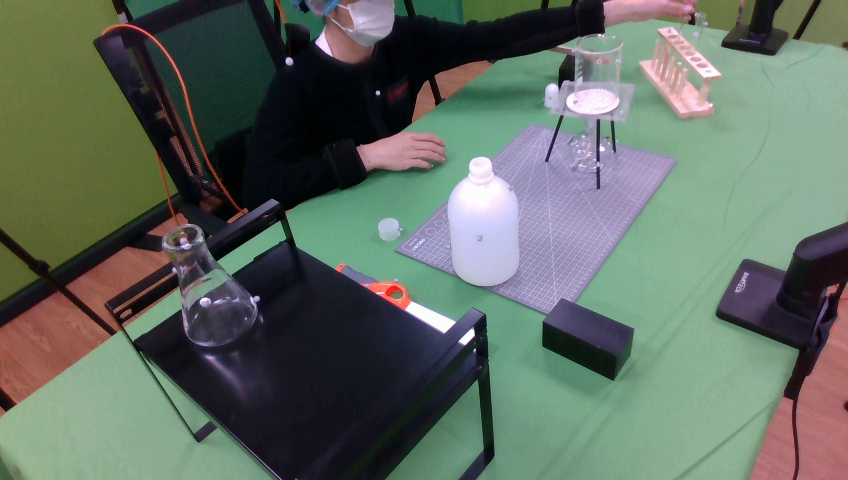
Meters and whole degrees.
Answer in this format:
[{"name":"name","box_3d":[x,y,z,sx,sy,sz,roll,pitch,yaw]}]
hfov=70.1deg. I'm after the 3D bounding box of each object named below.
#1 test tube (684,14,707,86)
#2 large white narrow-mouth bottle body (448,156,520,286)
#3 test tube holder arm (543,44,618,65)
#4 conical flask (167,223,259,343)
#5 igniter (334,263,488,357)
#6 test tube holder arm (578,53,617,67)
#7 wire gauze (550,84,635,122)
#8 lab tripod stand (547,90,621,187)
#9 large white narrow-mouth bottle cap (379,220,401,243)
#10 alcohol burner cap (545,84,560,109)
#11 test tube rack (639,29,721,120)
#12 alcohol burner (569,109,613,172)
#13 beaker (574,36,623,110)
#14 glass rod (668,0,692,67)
[{"name":"test tube","box_3d":[0.541,-0.379,1.216,0.017,0.151,0.017,-2,44,2]},{"name":"large white narrow-mouth bottle body","box_3d":[0.086,-0.032,0.869,0.102,0.195,0.101,-4,40,4]},{"name":"test tube holder arm","box_3d":[0.344,-0.412,1.340,0.177,0.015,0.013,24,49,31]},{"name":"conical flask","box_3d":[-0.220,0.041,0.613,0.075,0.122,0.075,-5,40,4]},{"name":"igniter","box_3d":[-0.030,0.095,0.872,0.274,0.025,0.057,23,60,31]},{"name":"test tube holder arm","box_3d":[0.376,-0.393,1.314,0.087,0.015,0.010,25,49,32]},{"name":"wire gauze","box_3d":[0.285,-0.234,1.021,0.124,0.011,0.121,8,41,24]},{"name":"lab tripod stand","box_3d":[0.289,-0.184,1.062,0.148,0.132,0.147,-6,41,6]},{"name":"large white narrow-mouth bottle cap","box_3d":[-0.057,-0.015,1.011,0.038,0.024,0.037,-4,40,4]},{"name":"alcohol burner cap","box_3d":[0.274,-0.307,1.286,0.034,0.048,0.033,-5,42,5]},{"name":"test tube rack","box_3d":[0.527,-0.351,1.262,0.067,0.085,0.241,-8,40,1]},{"name":"alcohol burner","box_3d":[0.297,-0.181,1.073,0.078,0.119,0.077,-5,43,5]},{"name":"beaker","box_3d":[0.285,-0.273,0.990,0.073,0.101,0.084,15,46,27]},{"name":"glass rod","box_3d":[0.531,-0.448,1.237,0.008,0.200,0.008,4,38,-3]}]
